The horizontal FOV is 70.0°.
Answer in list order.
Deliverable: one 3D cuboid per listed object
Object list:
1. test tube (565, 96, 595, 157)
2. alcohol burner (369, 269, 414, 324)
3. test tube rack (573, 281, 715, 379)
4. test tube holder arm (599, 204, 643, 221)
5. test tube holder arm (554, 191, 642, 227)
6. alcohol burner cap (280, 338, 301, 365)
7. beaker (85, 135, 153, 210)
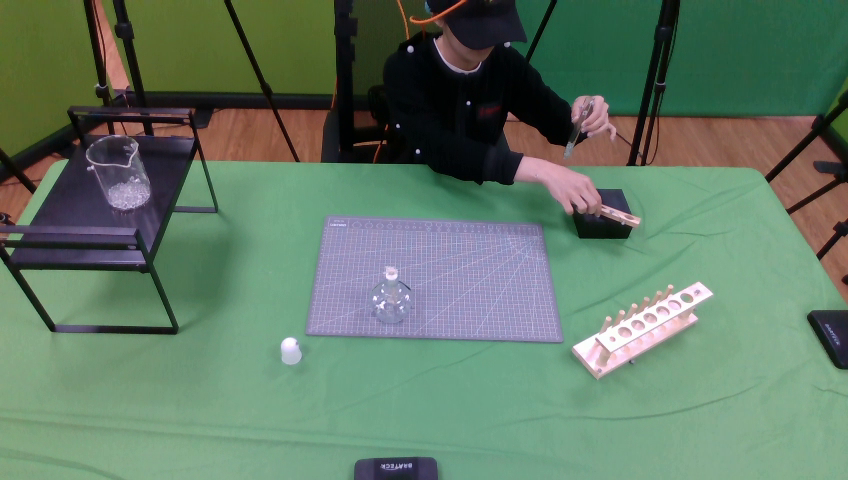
[{"bbox_3d":[0.318,-0.230,1.243,0.017,0.151,0.017,5,48,-5],"label":"test tube"},{"bbox_3d":[-0.056,0.089,1.037,0.078,0.120,0.077,1,47,-1],"label":"alcohol burner"},{"bbox_3d":[0.378,0.140,1.038,0.242,0.085,0.066,-22,51,-23],"label":"test tube rack"},{"bbox_3d":[0.389,-0.051,1.203,0.087,0.015,0.010,22,45,19],"label":"test tube holder arm"},{"bbox_3d":[0.346,-0.064,1.214,0.178,0.015,0.013,21,45,19],"label":"test tube holder arm"},{"bbox_3d":[-0.220,0.179,0.993,0.034,0.048,0.033,2,46,-2],"label":"alcohol burner cap"},{"bbox_3d":[-0.475,-0.102,0.957,0.083,0.101,0.074,34,53,26],"label":"beaker"}]
